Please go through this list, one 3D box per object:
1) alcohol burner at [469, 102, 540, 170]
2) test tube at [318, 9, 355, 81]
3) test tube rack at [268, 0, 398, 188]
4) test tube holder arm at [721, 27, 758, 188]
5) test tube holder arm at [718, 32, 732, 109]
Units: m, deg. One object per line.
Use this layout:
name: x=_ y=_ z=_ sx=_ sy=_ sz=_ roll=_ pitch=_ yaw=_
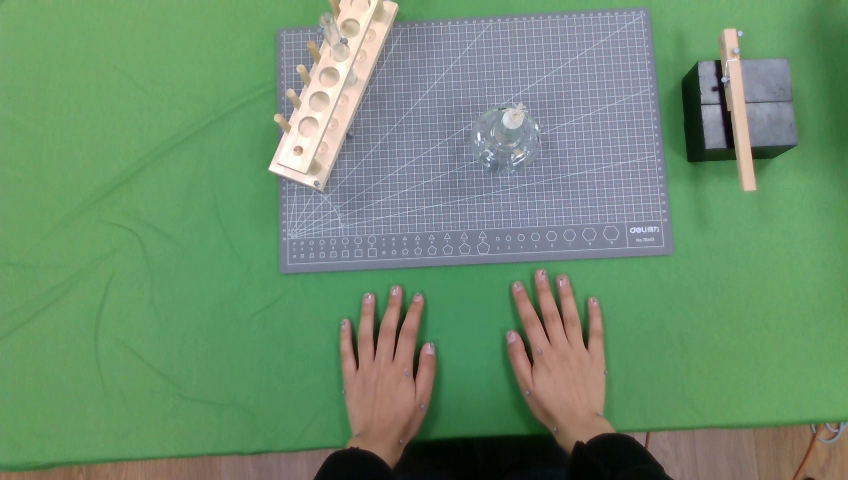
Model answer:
alcohol burner: x=0.089 y=-0.118 z=0.653 sx=0.078 sy=0.119 sz=0.077 roll=0 pitch=81 yaw=1
test tube: x=-0.089 y=-0.200 z=0.634 sx=0.017 sy=0.150 sz=0.017 roll=0 pitch=84 yaw=1
test tube rack: x=-0.108 y=-0.189 z=0.683 sx=0.066 sy=0.085 sz=0.242 roll=21 pitch=84 yaw=5
test tube holder arm: x=0.335 y=-0.142 z=0.645 sx=0.015 sy=0.013 sz=0.177 roll=-5 pitch=79 yaw=12
test tube holder arm: x=0.334 y=-0.185 z=0.659 sx=0.015 sy=0.010 sz=0.087 roll=-5 pitch=79 yaw=12
